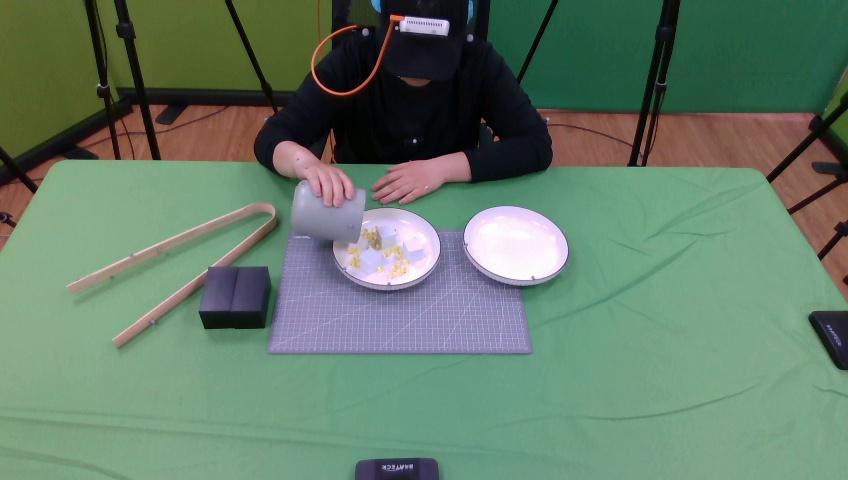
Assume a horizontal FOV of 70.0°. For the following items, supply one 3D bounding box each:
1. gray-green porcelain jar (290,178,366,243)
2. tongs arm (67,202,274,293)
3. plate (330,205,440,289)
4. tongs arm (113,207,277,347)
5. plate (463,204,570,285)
[{"bbox_3d":[-0.179,-0.055,1.121,0.127,0.106,0.105,9,45,-11],"label":"gray-green porcelain jar"},{"bbox_3d":[-0.461,0.013,1.142,0.385,0.026,0.050,-31,56,-31],"label":"tongs arm"},{"bbox_3d":[-0.074,0.018,1.160,0.208,0.039,0.206,2,46,-2],"label":"plate"},{"bbox_3d":[-0.400,0.058,1.109,0.028,0.028,0.387,26,49,23],"label":"tongs arm"},{"bbox_3d":[0.178,0.012,1.184,0.209,0.038,0.208,3,46,-3],"label":"plate"}]
